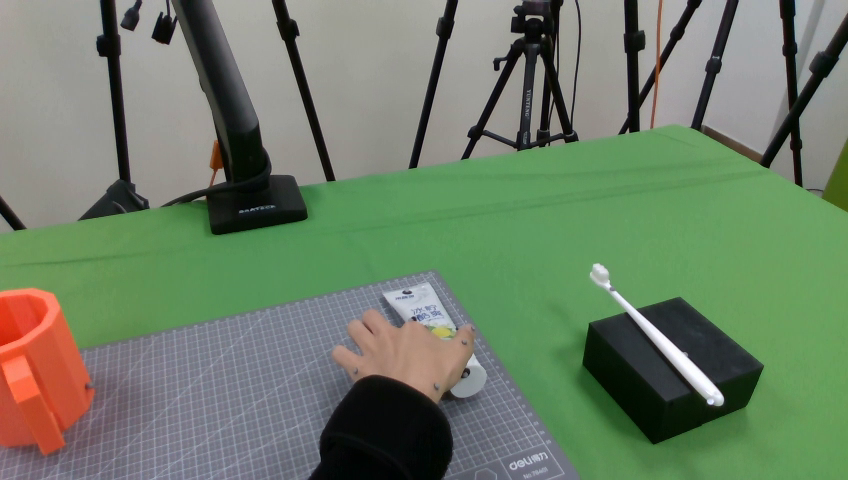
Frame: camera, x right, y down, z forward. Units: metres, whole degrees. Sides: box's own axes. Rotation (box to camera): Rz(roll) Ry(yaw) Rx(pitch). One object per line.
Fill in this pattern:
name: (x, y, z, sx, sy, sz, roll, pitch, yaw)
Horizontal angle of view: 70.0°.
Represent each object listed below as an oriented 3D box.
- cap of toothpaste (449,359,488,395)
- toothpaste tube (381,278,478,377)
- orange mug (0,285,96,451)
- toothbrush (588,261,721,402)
cap of toothpaste: (0.037, 0.116, 0.520, 0.037, 0.037, 0.011, -13, 32, -19)
toothpaste tube: (0.010, 0.082, 0.584, 0.055, 0.035, 0.163, -7, 29, -22)
orange mug: (-0.317, 0.106, 0.481, 0.083, 0.101, 0.125, -24, 36, -32)
toothbrush: (0.193, 0.072, 0.524, 0.014, 0.017, 0.180, -6, 33, -17)
